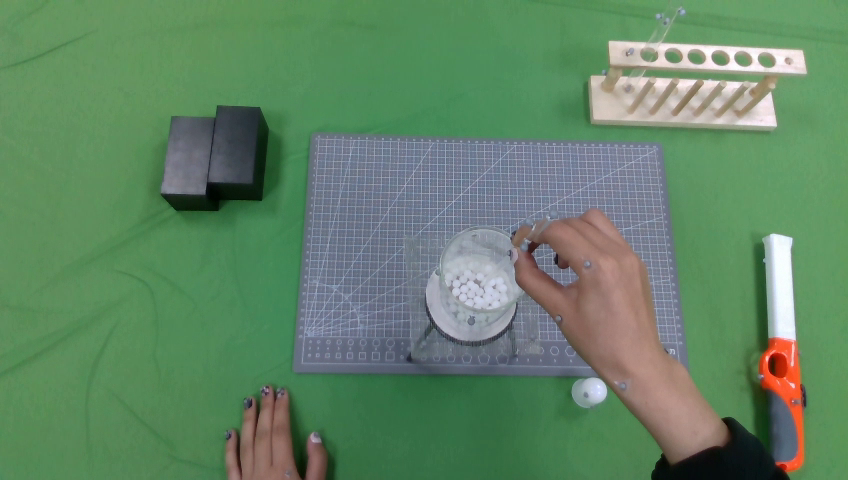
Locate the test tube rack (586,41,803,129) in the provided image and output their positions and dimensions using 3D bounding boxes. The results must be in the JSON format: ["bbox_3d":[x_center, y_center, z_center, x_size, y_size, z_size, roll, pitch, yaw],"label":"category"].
[{"bbox_3d":[0.338,-0.194,0.768,0.242,0.085,0.066,1,71,-2],"label":"test tube rack"}]

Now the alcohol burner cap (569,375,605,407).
[{"bbox_3d":[0.182,0.166,0.668,0.034,0.048,0.033,1,71,-1],"label":"alcohol burner cap"}]

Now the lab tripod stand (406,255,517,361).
[{"bbox_3d":[0.040,0.074,0.639,0.148,0.132,0.147,0,71,-1],"label":"lab tripod stand"}]

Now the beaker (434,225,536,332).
[{"bbox_3d":[0.048,0.038,0.530,0.084,0.101,0.073,-3,71,-4],"label":"beaker"}]

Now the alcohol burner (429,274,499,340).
[{"bbox_3d":[0.045,0.070,0.651,0.078,0.119,0.077,2,70,-4],"label":"alcohol burner"}]

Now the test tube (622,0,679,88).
[{"bbox_3d":[0.267,-0.230,0.724,0.017,0.151,0.017,1,68,-1],"label":"test tube"}]

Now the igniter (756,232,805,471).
[{"bbox_3d":[0.410,0.123,0.700,0.057,0.025,0.275,11,72,-10],"label":"igniter"}]

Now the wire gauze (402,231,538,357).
[{"bbox_3d":[0.043,0.050,0.577,0.125,0.011,0.120,-2,70,-1],"label":"wire gauze"}]

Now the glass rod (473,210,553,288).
[{"bbox_3d":[0.065,0.013,0.483,0.008,0.200,0.008,3,72,-9],"label":"glass rod"}]
